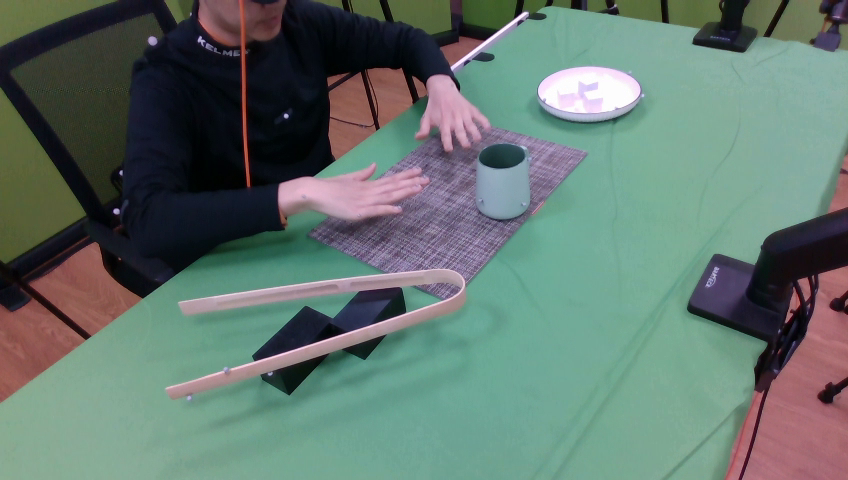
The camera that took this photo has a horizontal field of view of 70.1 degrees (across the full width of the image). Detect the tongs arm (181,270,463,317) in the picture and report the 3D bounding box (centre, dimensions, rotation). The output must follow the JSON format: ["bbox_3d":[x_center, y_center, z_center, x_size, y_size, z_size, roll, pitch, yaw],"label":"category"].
[{"bbox_3d":[-0.139,0.075,0.827,0.388,0.028,0.028,-7,33,1],"label":"tongs arm"}]

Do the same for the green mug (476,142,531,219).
[{"bbox_3d":[0.140,-0.106,1.002,0.092,0.105,0.125,21,48,30],"label":"green mug"}]

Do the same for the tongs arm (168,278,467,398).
[{"bbox_3d":[-0.124,0.122,0.767,0.386,0.026,0.050,-15,37,-9],"label":"tongs arm"}]

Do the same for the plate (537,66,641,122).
[{"bbox_3d":[0.338,-0.299,1.255,0.209,0.038,0.208,-4,41,4],"label":"plate"}]
